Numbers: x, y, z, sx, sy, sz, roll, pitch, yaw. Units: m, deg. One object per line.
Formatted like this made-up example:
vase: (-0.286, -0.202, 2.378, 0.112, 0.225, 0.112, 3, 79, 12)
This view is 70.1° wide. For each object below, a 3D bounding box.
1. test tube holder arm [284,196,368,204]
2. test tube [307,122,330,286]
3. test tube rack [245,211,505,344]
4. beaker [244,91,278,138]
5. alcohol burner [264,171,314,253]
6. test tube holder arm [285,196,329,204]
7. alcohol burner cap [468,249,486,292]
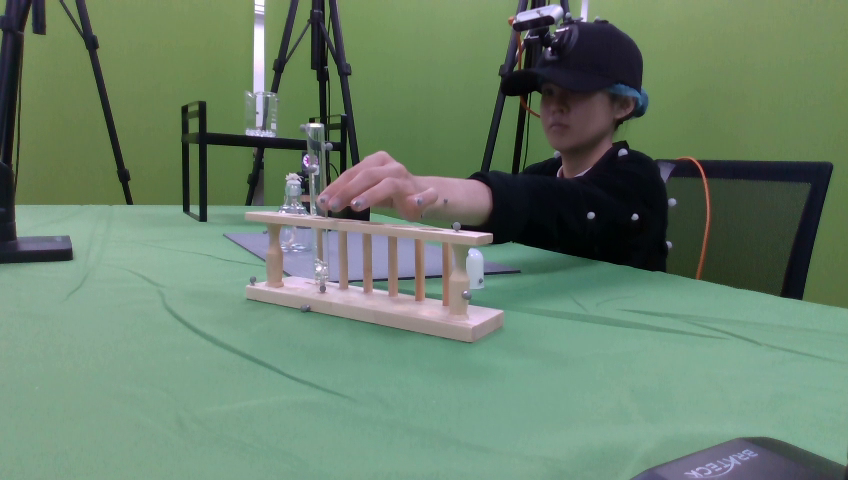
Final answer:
test tube holder arm: (-0.195, -0.080, 1.221, 0.179, 0.015, 0.013, -1, 10, -32)
test tube: (-0.094, -0.030, 0.542, 0.017, 0.150, 0.017, 1, 17, 0)
test tube rack: (-0.049, 0.025, 0.547, 0.241, 0.085, 0.067, 7, 8, 29)
beaker: (-0.368, -0.280, 1.356, 0.074, 0.100, 0.084, 4, 8, 6)
alcohol burner: (-0.194, -0.042, 0.888, 0.078, 0.119, 0.078, 3, 5, 0)
test tube holder arm: (-0.231, -0.079, 1.192, 0.088, 0.015, 0.010, -1, 10, -30)
alcohol burner cap: (0.056, 0.035, 0.690, 0.034, 0.048, 0.034, 2, 7, 0)
